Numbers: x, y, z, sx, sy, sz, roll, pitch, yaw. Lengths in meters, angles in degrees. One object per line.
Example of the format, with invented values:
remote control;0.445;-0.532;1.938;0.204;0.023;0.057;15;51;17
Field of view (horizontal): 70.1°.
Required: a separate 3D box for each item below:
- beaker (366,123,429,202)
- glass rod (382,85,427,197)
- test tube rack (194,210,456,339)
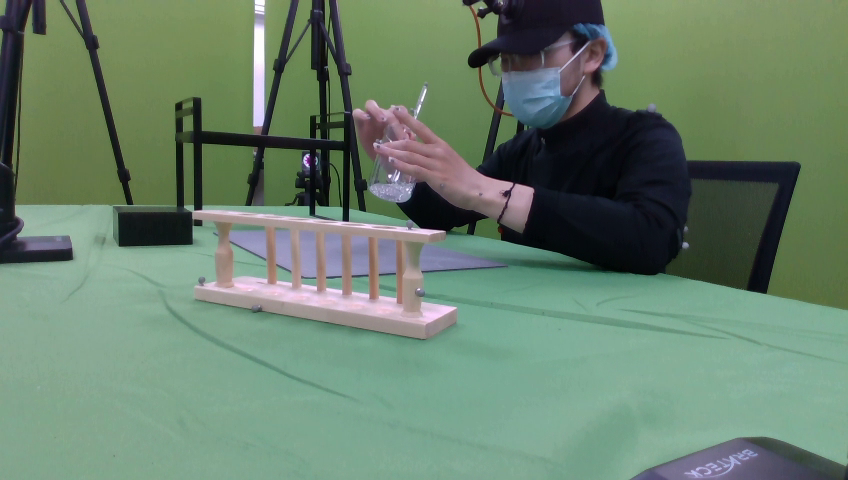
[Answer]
beaker;-0.039;-0.114;0.910;0.074;0.100;0.083;24;-19;-23
glass rod;-0.030;-0.157;0.951;0.008;0.199;0.008;19;-13;5
test tube rack;-0.093;0.023;0.546;0.241;0.085;0.067;6;8;25
